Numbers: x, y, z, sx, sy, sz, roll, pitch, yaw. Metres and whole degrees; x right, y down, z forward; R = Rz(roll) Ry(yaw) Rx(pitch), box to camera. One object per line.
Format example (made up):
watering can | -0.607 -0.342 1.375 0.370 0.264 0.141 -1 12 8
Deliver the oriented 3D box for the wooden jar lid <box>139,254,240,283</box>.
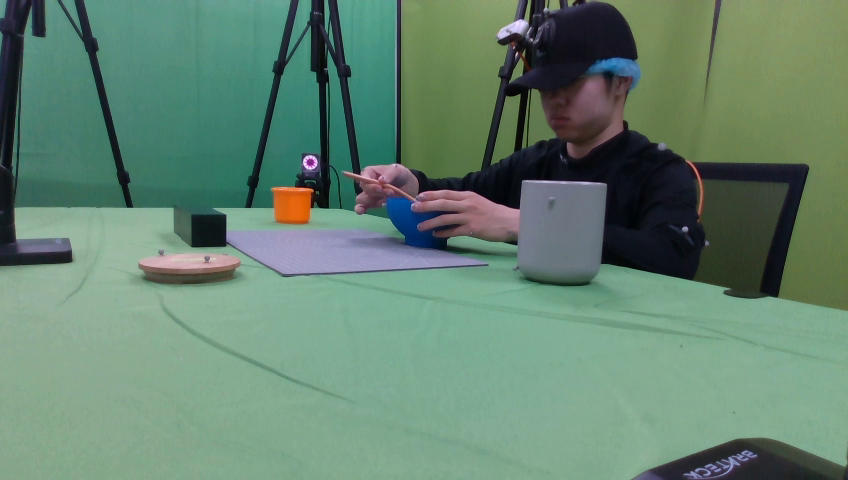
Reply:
wooden jar lid | -0.269 0.032 0.698 0.108 0.020 0.108 2 5 0

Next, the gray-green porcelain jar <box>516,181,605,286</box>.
gray-green porcelain jar | 0.172 -0.010 0.768 0.106 0.126 0.106 2 7 0

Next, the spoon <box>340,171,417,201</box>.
spoon | -0.053 -0.085 1.044 0.194 0.021 0.041 24 10 3

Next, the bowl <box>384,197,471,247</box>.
bowl | 0.004 -0.031 1.044 0.151 0.077 0.151 4 6 0
